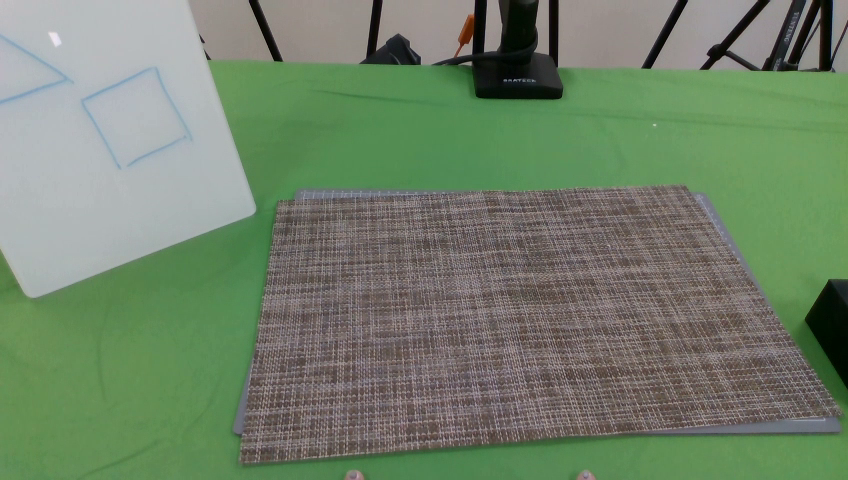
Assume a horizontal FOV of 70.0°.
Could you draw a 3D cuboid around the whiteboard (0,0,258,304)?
[{"bbox_3d":[-0.322,-0.137,0.565,0.217,0.308,0.142,-25,28,-27],"label":"whiteboard"}]
